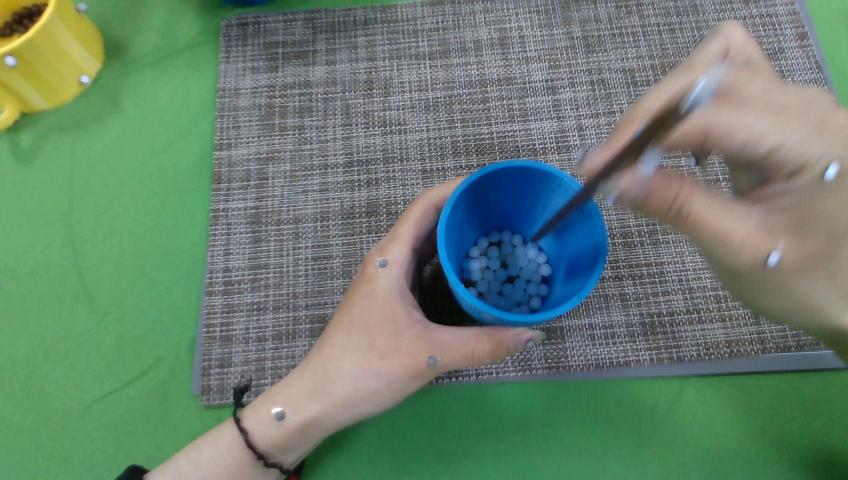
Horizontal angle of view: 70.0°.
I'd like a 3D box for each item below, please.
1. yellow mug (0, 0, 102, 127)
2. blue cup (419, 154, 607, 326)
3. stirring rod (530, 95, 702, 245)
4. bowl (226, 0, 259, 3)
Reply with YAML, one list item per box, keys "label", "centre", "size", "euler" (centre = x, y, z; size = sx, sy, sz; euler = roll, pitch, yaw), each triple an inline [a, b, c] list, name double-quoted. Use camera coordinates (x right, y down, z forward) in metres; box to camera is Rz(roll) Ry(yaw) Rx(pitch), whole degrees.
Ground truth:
- label: "yellow mug"
  centre: [-0.307, -0.142, 0.441]
  size: [0.100, 0.064, 0.130]
  euler: [7, 70, 5]
- label: "blue cup"
  centre: [0.050, 0.011, 0.346]
  size: [0.092, 0.101, 0.092]
  euler: [0, 74, 2]
- label: "stirring rod"
  centre: [0.067, -0.019, 0.248]
  size: [0.014, 0.176, 0.006]
  euler: [-34, 82, -8]
- label: "bowl"
  centre: [-0.148, -0.240, 0.467]
  size: [0.151, 0.077, 0.150]
  euler: [-1, 69, 2]
